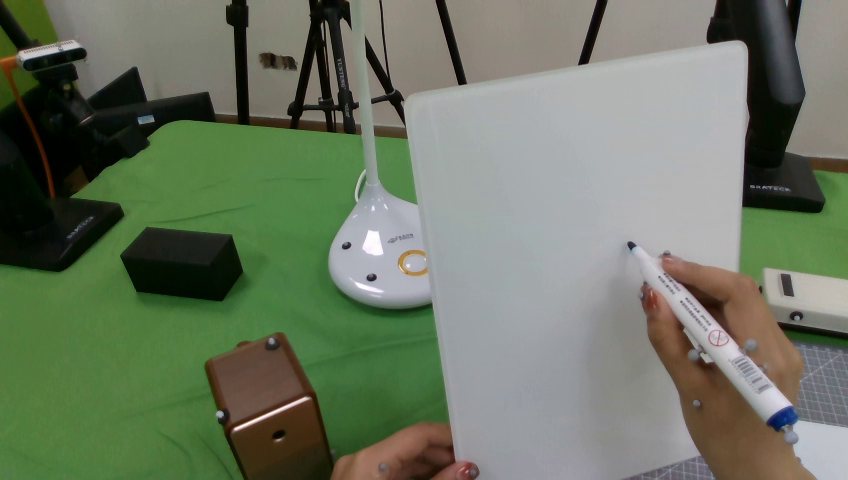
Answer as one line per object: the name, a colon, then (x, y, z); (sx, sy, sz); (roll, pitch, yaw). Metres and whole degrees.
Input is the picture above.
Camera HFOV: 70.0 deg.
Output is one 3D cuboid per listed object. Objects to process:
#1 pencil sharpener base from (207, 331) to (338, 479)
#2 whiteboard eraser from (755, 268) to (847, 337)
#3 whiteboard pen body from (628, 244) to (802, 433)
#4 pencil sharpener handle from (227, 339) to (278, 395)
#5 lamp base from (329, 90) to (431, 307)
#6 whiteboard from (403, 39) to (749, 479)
pencil sharpener base: (-0.112, 0.132, 0.450); (0.061, 0.108, 0.076); (-21, 41, -20)
whiteboard eraser: (0.369, 0.061, 0.558); (0.112, 0.042, 0.055); (8, 38, 15)
whiteboard pen body: (0.154, 0.047, 0.340); (0.017, 0.017, 0.139); (-14, 43, -13)
pencil sharpener handle: (-0.135, 0.095, 0.479); (0.036, 0.068, 0.030); (-28, 43, -14)
lamp base: (-0.034, -0.051, 0.620); (0.161, 0.182, 0.177); (-24, 40, -24)
whiteboard: (0.100, 0.023, 0.458); (0.217, 0.307, 0.142); (-12, 19, -9)
